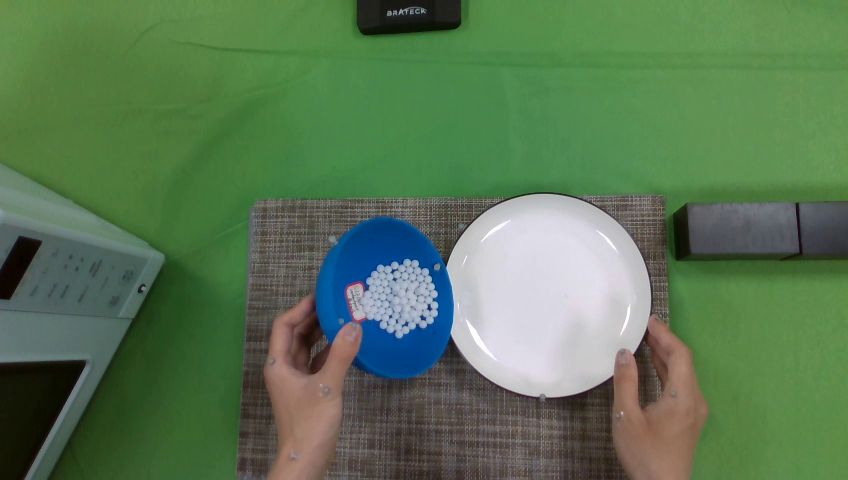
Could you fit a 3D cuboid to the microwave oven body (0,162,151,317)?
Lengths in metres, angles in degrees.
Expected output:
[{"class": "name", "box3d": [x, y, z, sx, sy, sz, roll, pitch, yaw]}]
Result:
[{"class": "microwave oven body", "box3d": [-0.538, 0.118, 0.575, 0.325, 0.261, 0.441, 26, 86, 10]}]

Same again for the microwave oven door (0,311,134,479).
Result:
[{"class": "microwave oven door", "box3d": [-0.428, 0.217, 0.542, 0.039, 0.245, 0.355, 26, 85, 11]}]

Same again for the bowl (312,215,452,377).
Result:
[{"class": "bowl", "box3d": [-0.052, 0.058, 0.578, 0.076, 0.152, 0.150, -17, 76, 43]}]

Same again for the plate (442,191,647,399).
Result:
[{"class": "plate", "box3d": [0.117, 0.055, 0.619, 0.207, 0.039, 0.207, -1, 81, 6]}]

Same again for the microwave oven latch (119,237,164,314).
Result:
[{"class": "microwave oven latch", "box3d": [-0.315, 0.039, 0.659, 0.030, 0.029, 0.079, 28, 86, 10]}]
